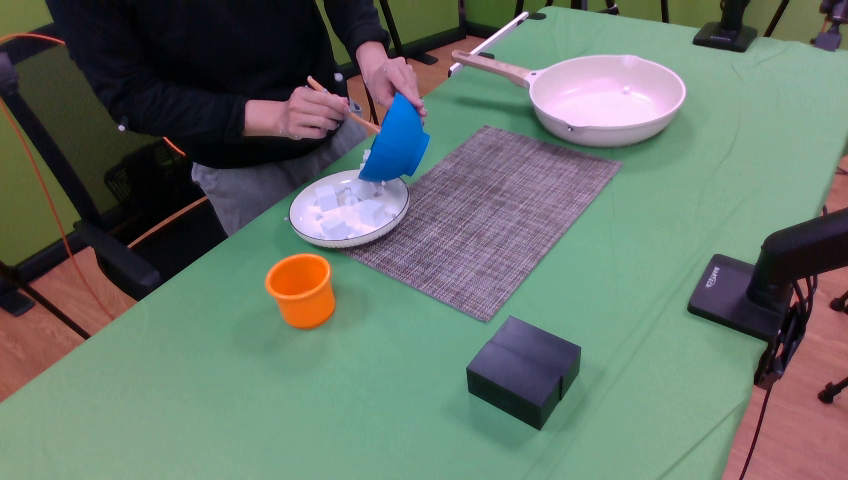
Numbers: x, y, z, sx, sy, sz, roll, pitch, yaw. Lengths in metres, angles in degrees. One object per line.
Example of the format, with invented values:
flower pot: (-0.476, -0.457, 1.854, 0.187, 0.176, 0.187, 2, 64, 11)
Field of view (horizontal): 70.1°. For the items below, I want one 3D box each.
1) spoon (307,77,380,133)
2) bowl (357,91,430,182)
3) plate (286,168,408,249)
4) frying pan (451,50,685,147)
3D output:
spoon: (-0.101, -0.191, 0.941, 0.195, 0.021, 0.041, 31, 35, -22)
bowl: (-0.041, -0.151, 0.958, 0.077, 0.151, 0.151, 24, 42, -9)
plate: (-0.127, -0.050, 1.028, 0.207, 0.039, 0.206, -5, 39, 5)
frying pan: (0.269, -0.316, 1.233, 0.485, 0.103, 0.307, 26, 49, 21)
